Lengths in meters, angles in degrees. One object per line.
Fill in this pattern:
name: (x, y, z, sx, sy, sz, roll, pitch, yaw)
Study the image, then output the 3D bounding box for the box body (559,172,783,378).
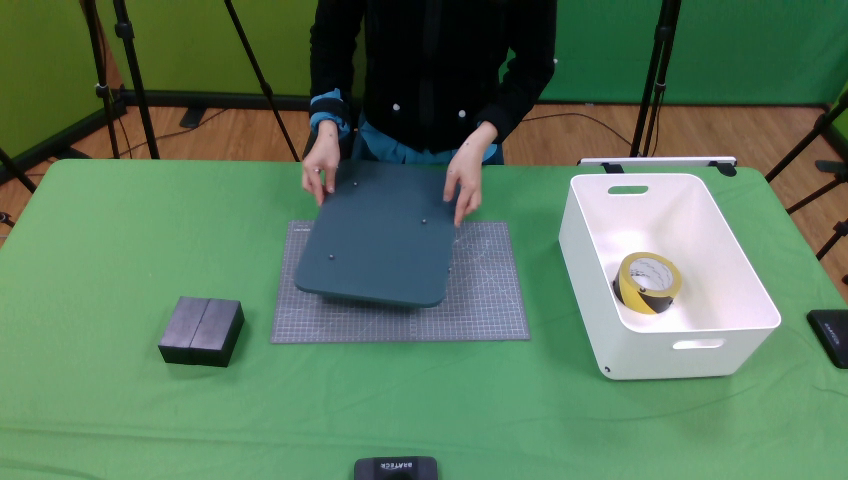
box body: (0.405, 0.057, 1.074, 0.254, 0.161, 0.361, -2, 46, -5)

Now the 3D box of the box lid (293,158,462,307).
box lid: (-0.073, -0.028, 1.133, 0.263, 0.015, 0.369, 7, 45, 5)

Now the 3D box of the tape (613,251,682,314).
tape: (0.413, 0.077, 1.122, 0.117, 0.053, 0.116, 2, 45, -2)
